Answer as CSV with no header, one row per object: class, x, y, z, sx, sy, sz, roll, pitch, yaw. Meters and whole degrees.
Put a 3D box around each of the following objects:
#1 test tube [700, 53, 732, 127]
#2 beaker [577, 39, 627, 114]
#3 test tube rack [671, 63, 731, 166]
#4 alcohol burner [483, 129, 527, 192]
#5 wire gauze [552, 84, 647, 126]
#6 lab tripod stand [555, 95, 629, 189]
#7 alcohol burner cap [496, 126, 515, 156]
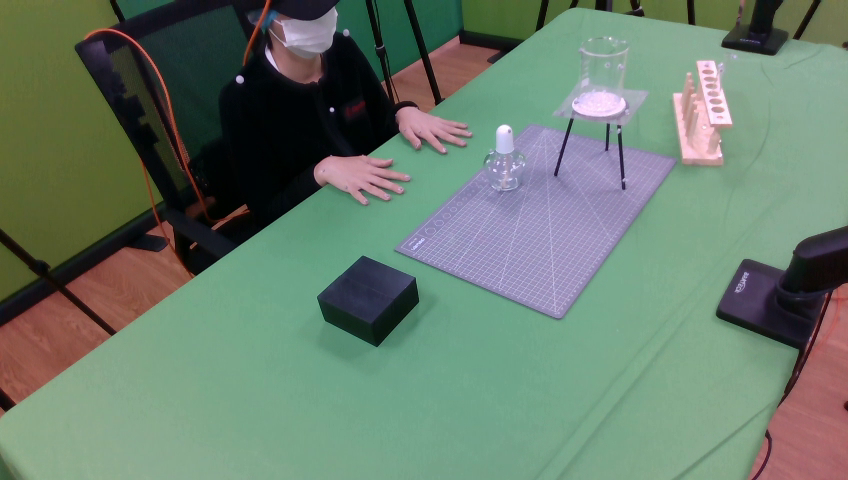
test tube,0.521,-0.265,1.081,0.017,0.151,0.017,-3,47,3
beaker,0.286,-0.264,0.976,0.073,0.100,0.084,25,49,33
test tube rack,0.513,-0.241,1.132,0.066,0.085,0.242,4,41,14
alcohol burner,0.141,-0.144,1.050,0.078,0.119,0.077,-4,42,4
wire gauze,0.293,-0.224,1.004,0.120,0.011,0.125,19,43,26
lab tripod stand,0.300,-0.174,1.045,0.148,0.132,0.147,-5,38,5
alcohol burner cap,0.138,-0.172,1.028,0.034,0.048,0.033,-5,38,5
